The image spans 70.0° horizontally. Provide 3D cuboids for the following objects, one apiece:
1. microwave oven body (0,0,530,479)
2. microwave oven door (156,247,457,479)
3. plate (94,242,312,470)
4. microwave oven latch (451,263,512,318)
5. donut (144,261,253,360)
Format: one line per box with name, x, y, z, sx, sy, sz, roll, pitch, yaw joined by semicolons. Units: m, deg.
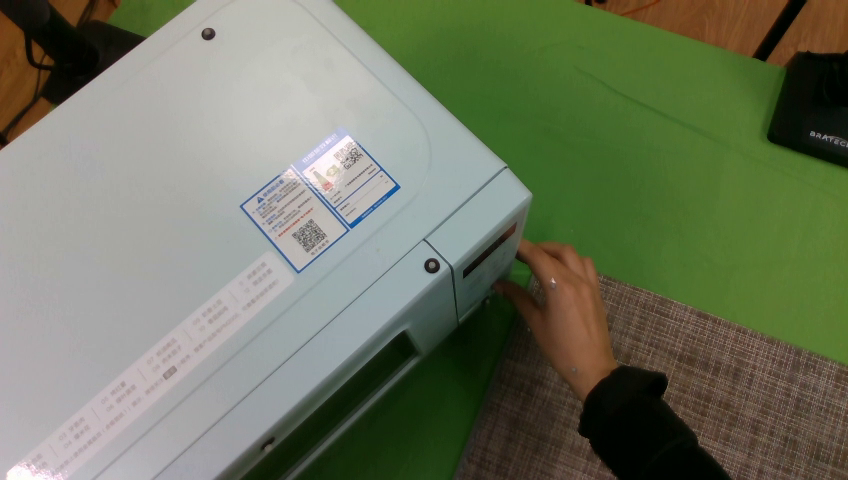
microwave oven body;-0.183;0.029;0.538;0.441;0.261;0.324;-42;76;-8
microwave oven door;-0.116;0.157;0.491;0.355;0.245;0.039;-42;74;-9
plate;-0.199;0.104;0.559;0.209;0.038;0.207;-4;67;10
microwave oven latch;0.055;0.044;0.620;0.079;0.029;0.030;-41;76;-8
donut;-0.213;0.067;0.578;0.099;0.048;0.098;4;61;-6
